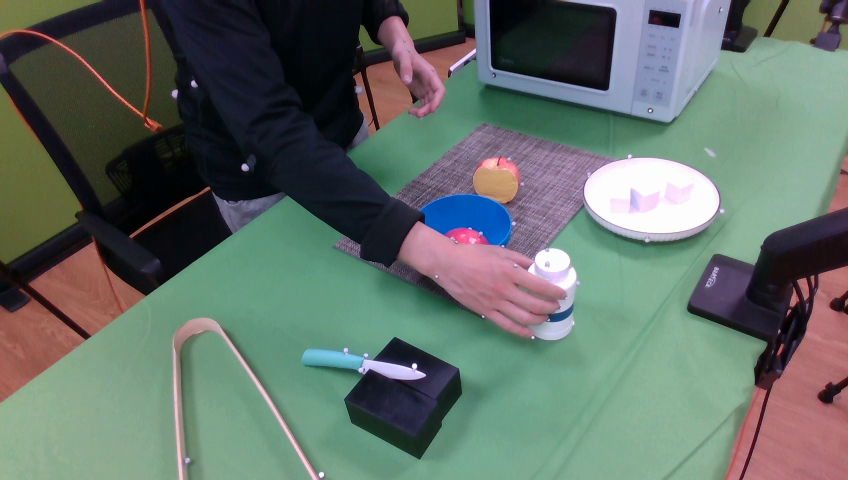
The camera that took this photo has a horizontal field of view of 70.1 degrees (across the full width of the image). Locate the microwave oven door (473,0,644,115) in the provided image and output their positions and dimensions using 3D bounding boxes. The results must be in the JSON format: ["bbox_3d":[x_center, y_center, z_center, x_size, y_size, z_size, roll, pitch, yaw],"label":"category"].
[{"bbox_3d":[0.257,-0.396,1.199,0.353,0.245,0.039,21,48,29],"label":"microwave oven door"}]

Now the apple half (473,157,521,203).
[{"bbox_3d":[0.128,-0.107,1.030,0.080,0.075,0.053,4,38,19],"label":"apple half"}]

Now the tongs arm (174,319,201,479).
[{"bbox_3d":[-0.272,0.234,0.723,0.051,0.026,0.381,-19,40,-14],"label":"tongs arm"}]

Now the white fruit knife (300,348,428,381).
[{"bbox_3d":[-0.080,0.154,0.748,0.206,0.027,0.016,1,20,34],"label":"white fruit knife"}]

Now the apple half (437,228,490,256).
[{"bbox_3d":[0.056,0.002,0.901,0.081,0.033,0.081,-3,40,3],"label":"apple half"}]

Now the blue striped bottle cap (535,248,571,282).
[{"bbox_3d":[0.161,0.031,0.753,0.044,0.021,0.044,-4,42,4],"label":"blue striped bottle cap"}]

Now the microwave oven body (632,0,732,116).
[{"bbox_3d":[0.377,-0.463,1.267,0.438,0.261,0.327,21,49,30],"label":"microwave oven body"}]

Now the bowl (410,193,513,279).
[{"bbox_3d":[0.058,0.004,0.905,0.151,0.077,0.150,-3,39,3],"label":"bowl"}]

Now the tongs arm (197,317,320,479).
[{"bbox_3d":[-0.200,0.207,0.750,0.028,0.028,0.384,-31,45,-22],"label":"tongs arm"}]

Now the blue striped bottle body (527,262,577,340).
[{"bbox_3d":[0.166,0.070,0.786,0.063,0.121,0.063,-4,41,4],"label":"blue striped bottle body"}]

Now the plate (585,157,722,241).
[{"bbox_3d":[0.367,-0.063,0.979,0.207,0.039,0.206,-4,40,4],"label":"plate"}]

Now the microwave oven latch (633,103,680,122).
[{"bbox_3d":[0.444,-0.249,1.158,0.078,0.029,0.030,21,49,30],"label":"microwave oven latch"}]
